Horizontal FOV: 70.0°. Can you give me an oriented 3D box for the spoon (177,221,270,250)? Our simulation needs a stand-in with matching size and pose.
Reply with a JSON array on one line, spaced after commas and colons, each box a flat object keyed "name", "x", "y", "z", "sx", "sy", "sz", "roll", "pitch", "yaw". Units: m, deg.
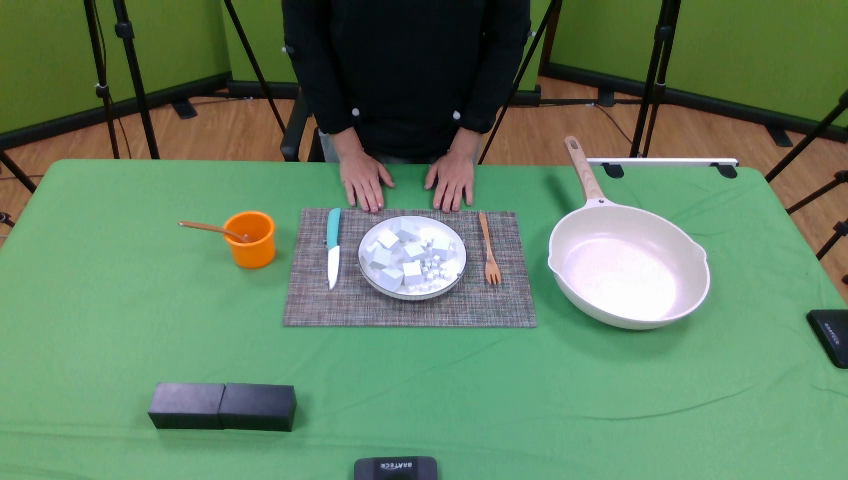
[{"name": "spoon", "x": -0.358, "y": -0.011, "z": 1.093, "sx": 0.021, "sy": 0.195, "sz": 0.041, "roll": -52, "pitch": 54, "yaw": 10}]

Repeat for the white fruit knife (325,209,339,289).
[{"name": "white fruit knife", "x": -0.179, "y": 0.014, "z": 1.170, "sx": 0.027, "sy": 0.016, "sz": 0.206, "roll": -4, "pitch": 47, "yaw": -3}]

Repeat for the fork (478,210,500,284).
[{"name": "fork", "x": 0.124, "y": 0.010, "z": 1.194, "sx": 0.028, "sy": 0.019, "sz": 0.206, "roll": -8, "pitch": 48, "yaw": 3}]

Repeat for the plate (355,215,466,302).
[{"name": "plate", "x": -0.025, "y": 0.038, "z": 1.144, "sx": 0.208, "sy": 0.039, "sz": 0.206, "roll": 2, "pitch": 46, "yaw": -2}]

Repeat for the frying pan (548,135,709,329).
[{"name": "frying pan", "x": 0.360, "y": -0.033, "z": 1.200, "sx": 0.307, "sy": 0.103, "sz": 0.484, "roll": -4, "pitch": 55, "yaw": -9}]
